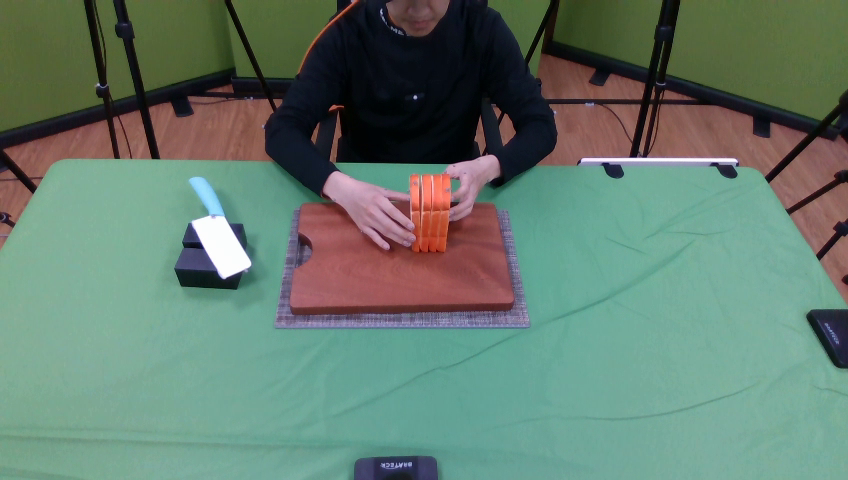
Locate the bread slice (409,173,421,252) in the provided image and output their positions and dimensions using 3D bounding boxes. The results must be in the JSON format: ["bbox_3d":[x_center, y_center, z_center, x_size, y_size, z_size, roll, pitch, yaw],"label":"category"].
[{"bbox_3d":[-0.016,-0.059,1.136,0.019,0.132,0.104,-3,44,1],"label":"bread slice"}]

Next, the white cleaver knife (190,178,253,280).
[{"bbox_3d":[-0.396,-0.030,1.137,0.066,0.021,0.284,-21,49,-23],"label":"white cleaver knife"}]

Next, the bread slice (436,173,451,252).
[{"bbox_3d":[0.036,-0.058,1.137,0.018,0.135,0.106,2,49,-3],"label":"bread slice"}]
